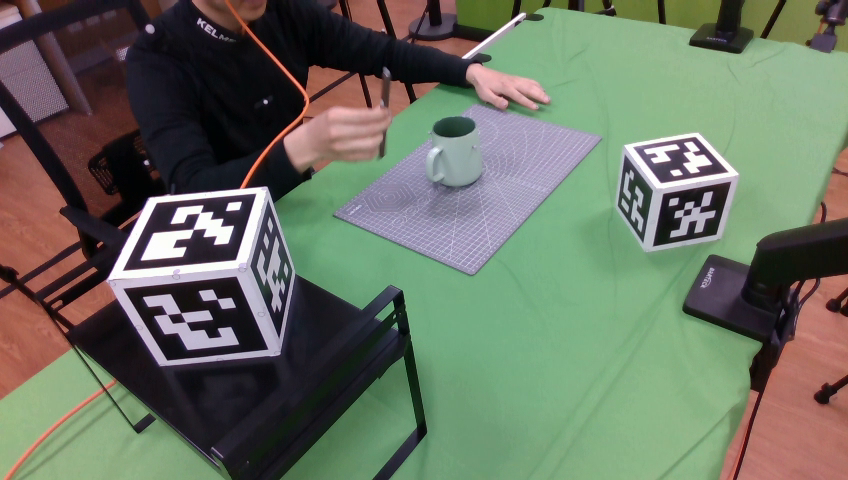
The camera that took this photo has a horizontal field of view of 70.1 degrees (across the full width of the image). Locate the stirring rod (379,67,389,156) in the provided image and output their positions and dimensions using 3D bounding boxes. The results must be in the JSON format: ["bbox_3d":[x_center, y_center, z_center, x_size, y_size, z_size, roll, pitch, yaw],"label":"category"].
[{"bbox_3d":[-0.060,-0.188,0.904,0.014,0.176,0.006,-38,66,-24],"label":"stirring rod"}]

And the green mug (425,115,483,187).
[{"bbox_3d":[0.047,-0.148,1.068,0.092,0.105,0.125,24,49,31],"label":"green mug"}]
